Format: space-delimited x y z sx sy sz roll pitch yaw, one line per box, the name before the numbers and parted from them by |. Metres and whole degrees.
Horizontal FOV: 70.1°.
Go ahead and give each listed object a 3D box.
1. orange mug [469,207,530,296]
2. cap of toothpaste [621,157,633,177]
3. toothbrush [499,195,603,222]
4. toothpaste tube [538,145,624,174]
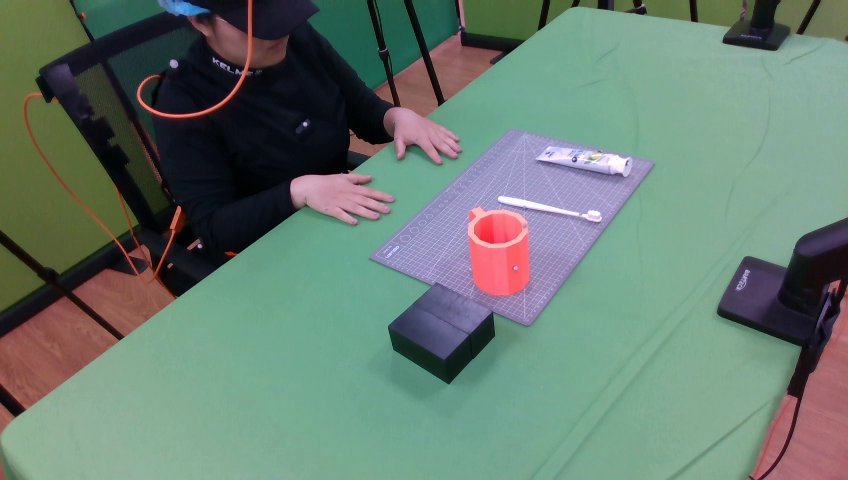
orange mug | 0.104 0.008 0.894 0.084 0.101 0.125 -22 46 -14
cap of toothpaste | 0.352 -0.128 1.051 0.011 0.037 0.037 18 48 35
toothbrush | 0.209 -0.055 1.011 0.180 0.017 0.014 14 62 27
toothpaste tube | 0.292 -0.148 1.097 0.164 0.034 0.055 17 41 34
